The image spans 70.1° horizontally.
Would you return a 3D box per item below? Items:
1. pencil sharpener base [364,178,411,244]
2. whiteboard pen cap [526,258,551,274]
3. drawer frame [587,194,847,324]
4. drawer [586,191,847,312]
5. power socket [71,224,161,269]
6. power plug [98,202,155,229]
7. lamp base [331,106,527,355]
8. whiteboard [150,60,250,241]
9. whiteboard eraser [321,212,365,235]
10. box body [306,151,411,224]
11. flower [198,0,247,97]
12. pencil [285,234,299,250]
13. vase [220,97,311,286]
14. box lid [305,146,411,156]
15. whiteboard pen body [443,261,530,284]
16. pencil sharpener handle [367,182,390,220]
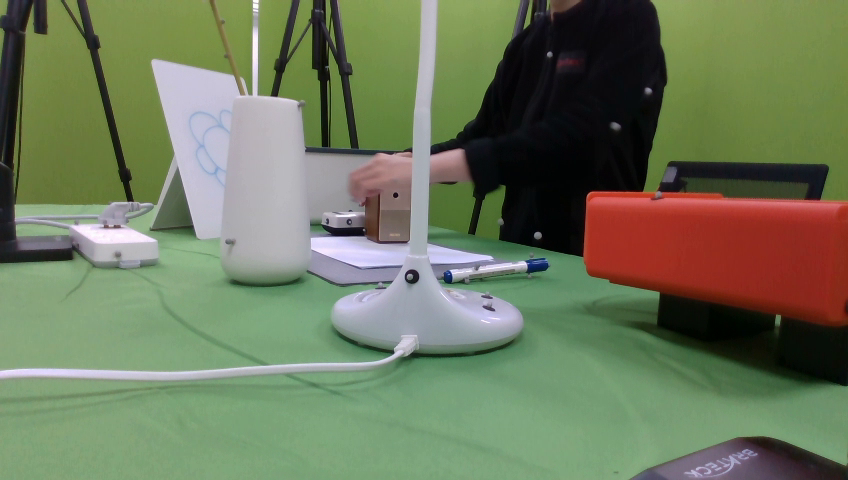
[{"bbox_3d":[-0.062,-0.051,1.031,0.061,0.107,0.076,-1,8,-25],"label":"pencil sharpener base"},{"bbox_3d":[0.141,0.033,0.759,0.033,0.018,0.018,-8,11,-26],"label":"whiteboard pen cap"},{"bbox_3d":[0.286,0.004,0.508,0.203,0.082,0.212,-1,6,-29],"label":"drawer frame"},{"bbox_3d":[0.281,0.001,0.513,0.195,0.073,0.210,-1,8,-29],"label":"drawer"},{"bbox_3d":[-0.408,0.004,0.793,0.072,0.032,0.225,-2,8,-38],"label":"power socket"},{"bbox_3d":[-0.416,-0.027,0.848,0.073,0.052,0.035,0,8,-28],"label":"power plug"},{"bbox_3d":[0.006,-0.012,0.478,0.161,0.180,0.179,2,10,2],"label":"lamp base"},{"bbox_3d":[-0.408,-0.139,1.093,0.143,0.305,0.218,-15,-1,26],"label":"whiteboard"},{"bbox_3d":[-0.128,-0.031,1.108,0.113,0.042,0.055,-3,8,-38],"label":"whiteboard eraser"},{"bbox_3d":[-0.230,-0.126,1.371,0.366,0.160,0.253,-2,8,-33],"label":"box body"},{"bbox_3d":[-0.187,-0.133,0.648,0.038,0.362,0.044,0,22,43],"label":"flower"},{"bbox_3d":[-0.209,0.000,0.969,0.012,0.012,0.193,1,6,-8],"label":"pencil"},{"bbox_3d":[-0.172,-0.052,0.662,0.098,0.200,0.098,3,8,0],"label":"vase"},{"bbox_3d":[-0.229,-0.200,1.360,0.373,0.015,0.262,-3,9,-33],"label":"box lid"},{"bbox_3d":[0.087,0.037,0.734,0.141,0.017,0.017,-6,11,-27],"label":"whiteboard pen body"},{"bbox_3d":[-0.086,-0.070,1.074,0.036,0.067,0.030,13,1,-26],"label":"pencil sharpener handle"}]
